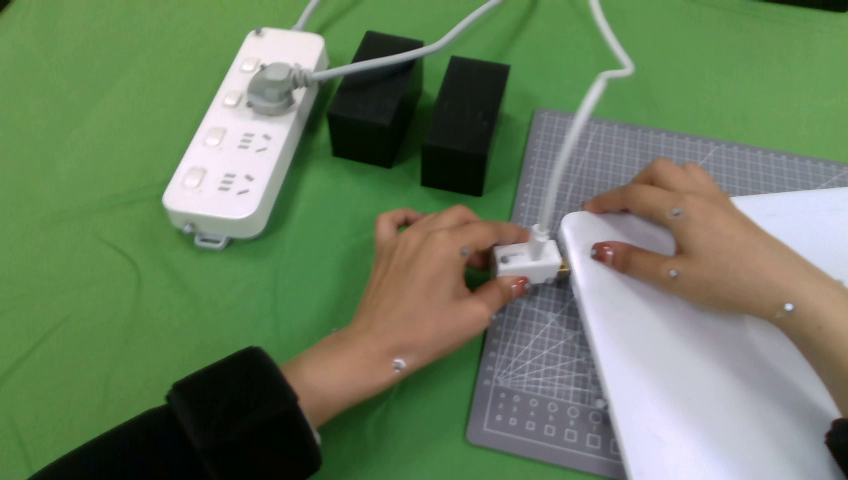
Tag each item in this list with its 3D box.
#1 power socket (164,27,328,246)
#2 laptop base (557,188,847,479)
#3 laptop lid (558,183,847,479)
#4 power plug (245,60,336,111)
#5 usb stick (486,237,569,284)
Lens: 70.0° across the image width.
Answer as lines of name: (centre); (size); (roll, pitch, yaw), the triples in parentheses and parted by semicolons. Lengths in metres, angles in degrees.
power socket: (-0.138, -0.096, 0.496); (0.072, 0.033, 0.225); (10, 56, 3)
laptop base: (0.284, 0.066, 0.409); (0.355, 0.023, 0.233); (-5, 60, -5)
laptop lid: (0.284, 0.061, 0.398); (0.357, 0.013, 0.239); (-4, 59, -4)
power plug: (-0.107, -0.113, 0.480); (0.072, 0.053, 0.035); (18, 58, 10)
usb stick: (0.075, 0.014, 0.418); (0.059, 0.027, 0.021); (-3, 50, -14)
